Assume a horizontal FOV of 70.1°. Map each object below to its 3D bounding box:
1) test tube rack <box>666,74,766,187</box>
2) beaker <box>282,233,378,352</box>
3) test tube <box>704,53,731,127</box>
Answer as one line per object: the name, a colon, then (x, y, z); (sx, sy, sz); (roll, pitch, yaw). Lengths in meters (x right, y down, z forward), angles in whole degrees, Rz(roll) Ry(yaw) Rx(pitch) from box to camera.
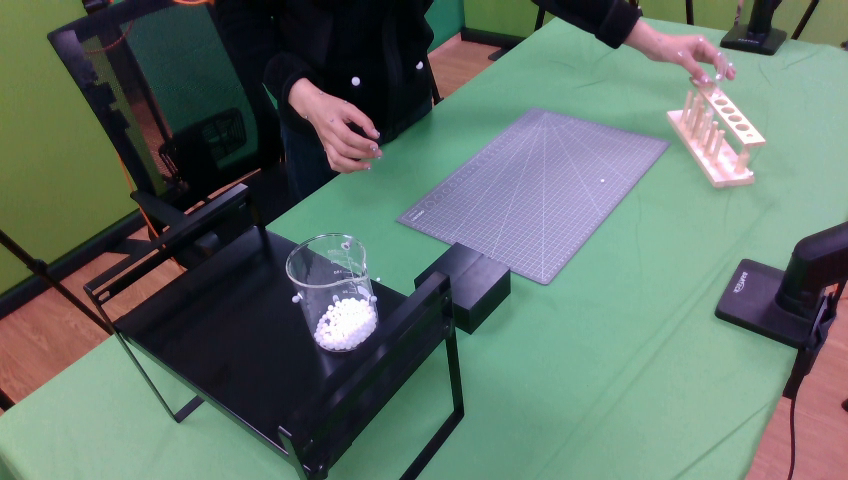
test tube rack: (0.512, -0.202, 1.082); (0.067, 0.085, 0.241); (-5, 41, 2)
beaker: (-0.084, 0.054, 0.587); (0.083, 0.101, 0.074); (17, 47, 25)
test tube: (0.521, -0.264, 1.078); (0.017, 0.151, 0.017); (-4, 46, 5)
